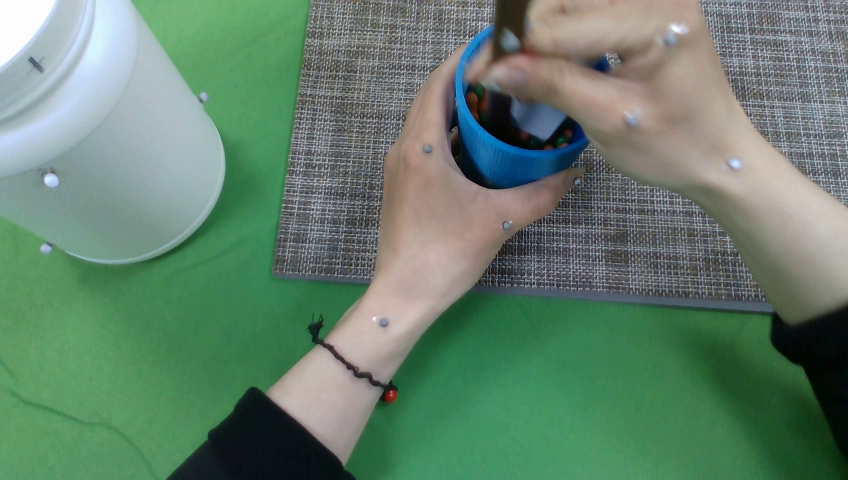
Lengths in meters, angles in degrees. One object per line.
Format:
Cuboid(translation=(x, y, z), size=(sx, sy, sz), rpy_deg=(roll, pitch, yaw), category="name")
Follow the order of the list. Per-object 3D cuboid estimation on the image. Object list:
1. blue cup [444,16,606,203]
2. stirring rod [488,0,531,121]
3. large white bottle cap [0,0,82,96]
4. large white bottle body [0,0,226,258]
Cuboid(translation=(0.057, -0.067, 0.367), size=(0.092, 0.101, 0.092), rpy_deg=(-1, 72, 5), category="blue cup")
Cuboid(translation=(0.038, -0.072, 0.287), size=(0.014, 0.177, 0.006), rpy_deg=(-29, 78, -1), category="stirring rod")
Cuboid(translation=(-0.201, -0.103, 0.248), size=(0.115, 0.018, 0.114), rpy_deg=(0, 72, 0), category="large white bottle cap")
Cuboid(translation=(-0.200, -0.075, 0.328), size=(0.130, 0.185, 0.130), rpy_deg=(0, 72, 1), category="large white bottle body")
